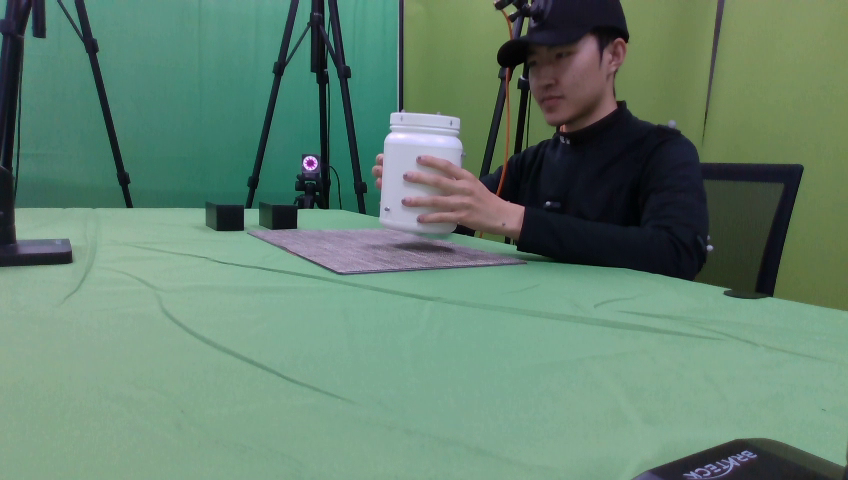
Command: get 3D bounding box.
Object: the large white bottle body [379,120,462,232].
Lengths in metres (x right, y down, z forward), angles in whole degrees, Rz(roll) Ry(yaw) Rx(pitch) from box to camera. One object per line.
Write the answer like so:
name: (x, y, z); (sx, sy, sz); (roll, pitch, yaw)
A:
large white bottle body: (-0.005, -0.112, 0.996); (0.131, 0.184, 0.130); (4, 9, 0)

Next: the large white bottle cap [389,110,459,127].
large white bottle cap: (0.000, -0.196, 0.984); (0.115, 0.018, 0.115); (4, 8, 0)
